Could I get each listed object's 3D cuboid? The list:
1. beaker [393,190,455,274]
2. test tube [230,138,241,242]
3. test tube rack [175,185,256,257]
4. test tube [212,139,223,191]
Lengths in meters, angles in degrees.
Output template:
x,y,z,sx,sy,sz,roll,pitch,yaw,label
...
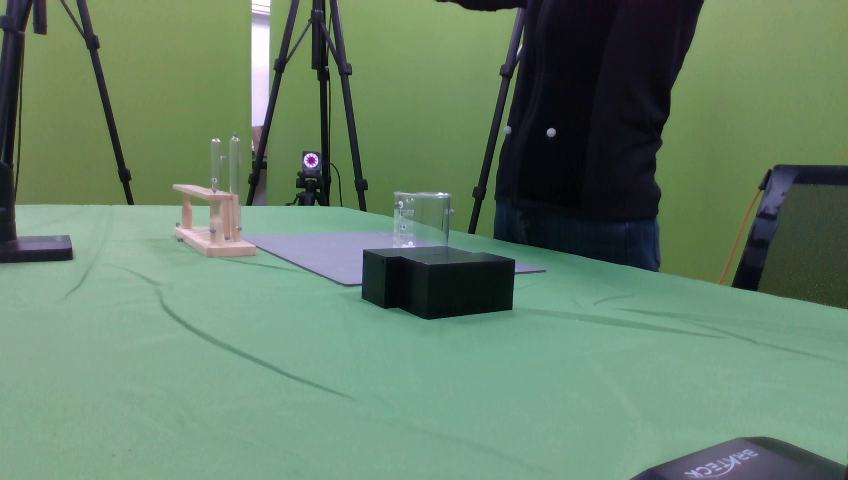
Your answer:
x,y,z,sx,sy,sz,roll,pitch,yaw,label
-0.005,-0.012,0.760,0.074,0.100,0.083,-2,8,-32,beaker
-0.270,-0.071,0.866,0.017,0.150,0.017,2,8,0,test tube
-0.324,-0.035,0.922,0.067,0.085,0.241,-2,9,-32,test tube rack
-0.329,-0.086,0.965,0.017,0.150,0.017,1,6,0,test tube
